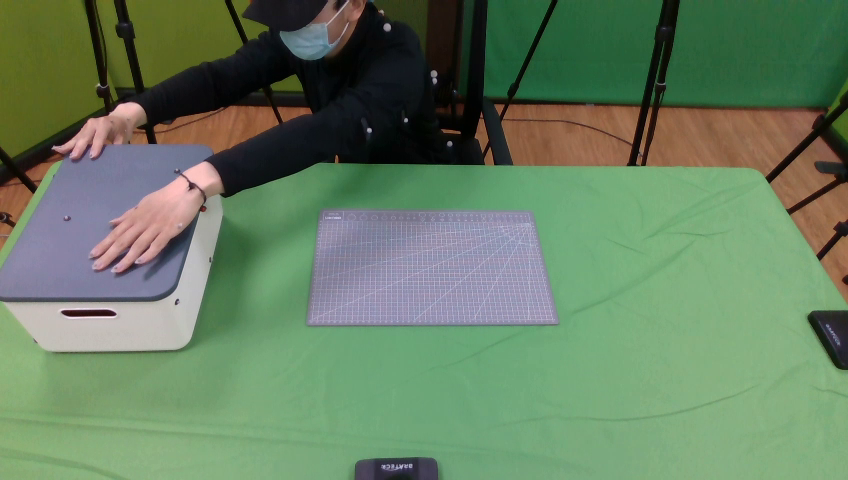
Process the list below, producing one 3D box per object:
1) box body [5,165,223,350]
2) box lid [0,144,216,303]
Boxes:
[{"bbox_3d":[-0.510,0.008,1.054,0.254,0.161,0.361,-1,46,-5],"label":"box body"},{"bbox_3d":[-0.506,-0.044,1.002,0.263,0.015,0.369,0,46,-5],"label":"box lid"}]
